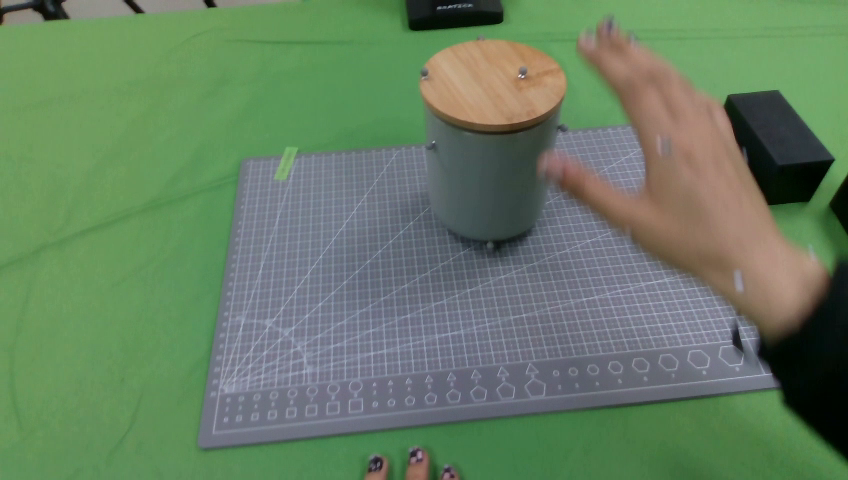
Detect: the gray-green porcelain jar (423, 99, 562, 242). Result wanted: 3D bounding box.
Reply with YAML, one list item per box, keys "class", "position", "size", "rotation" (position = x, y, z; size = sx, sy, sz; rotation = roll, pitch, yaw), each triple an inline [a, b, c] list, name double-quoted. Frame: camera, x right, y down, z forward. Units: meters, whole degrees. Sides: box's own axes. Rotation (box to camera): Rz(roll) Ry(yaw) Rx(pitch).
- class: "gray-green porcelain jar"
  position: [0.054, -0.069, 0.502]
  size: [0.106, 0.127, 0.105]
  rotation: [-1, 49, 1]

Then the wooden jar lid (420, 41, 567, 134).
- class: "wooden jar lid"
  position: [0.051, -0.112, 0.453]
  size: [0.108, 0.021, 0.107]
  rotation: [-1, 48, 1]
